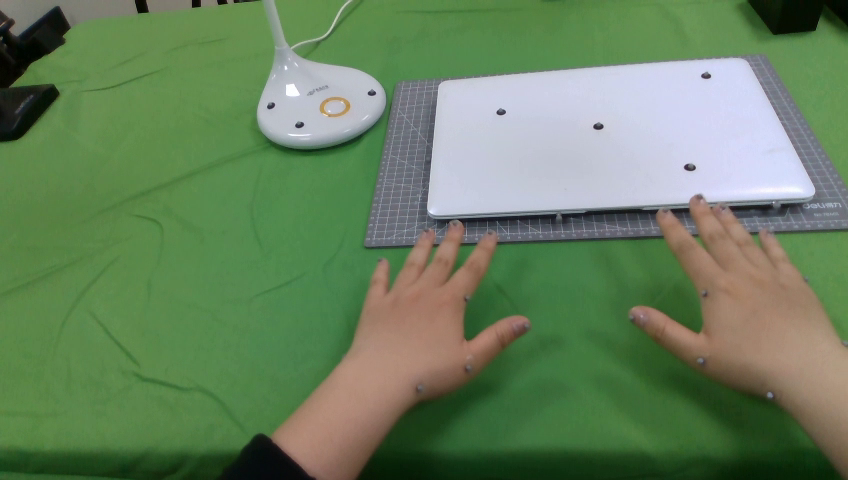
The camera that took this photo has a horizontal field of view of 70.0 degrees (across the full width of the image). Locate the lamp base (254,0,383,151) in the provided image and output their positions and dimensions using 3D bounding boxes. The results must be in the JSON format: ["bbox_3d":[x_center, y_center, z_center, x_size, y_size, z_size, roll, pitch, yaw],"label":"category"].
[{"bbox_3d":[-0.149,-0.220,0.703,0.177,0.182,0.160,29,56,36],"label":"lamp base"}]

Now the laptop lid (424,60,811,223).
[{"bbox_3d":[0.179,-0.111,0.634,0.356,0.013,0.239,-2,47,9],"label":"laptop lid"}]

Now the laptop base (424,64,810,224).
[{"bbox_3d":[0.181,-0.104,0.644,0.354,0.023,0.233,-3,48,7],"label":"laptop base"}]
